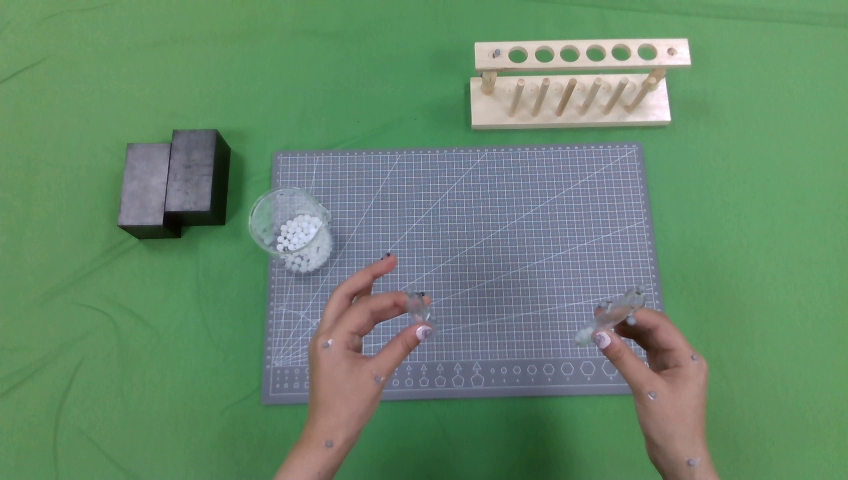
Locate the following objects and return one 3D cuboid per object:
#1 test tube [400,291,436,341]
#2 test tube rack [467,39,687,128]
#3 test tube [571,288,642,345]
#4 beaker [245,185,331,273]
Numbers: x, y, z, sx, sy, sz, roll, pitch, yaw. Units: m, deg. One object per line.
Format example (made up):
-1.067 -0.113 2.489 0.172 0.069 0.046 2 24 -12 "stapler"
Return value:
-0.003 0.069 0.525 0.017 0.151 0.017 -2 71 6 "test tube"
0.176 -0.184 0.721 0.242 0.085 0.066 -1 74 0 "test tube rack"
0.149 0.068 0.510 0.017 0.151 0.017 1 70 -2 "test tube"
-0.140 -0.008 0.660 0.084 0.101 0.073 -9 74 -3 "beaker"
